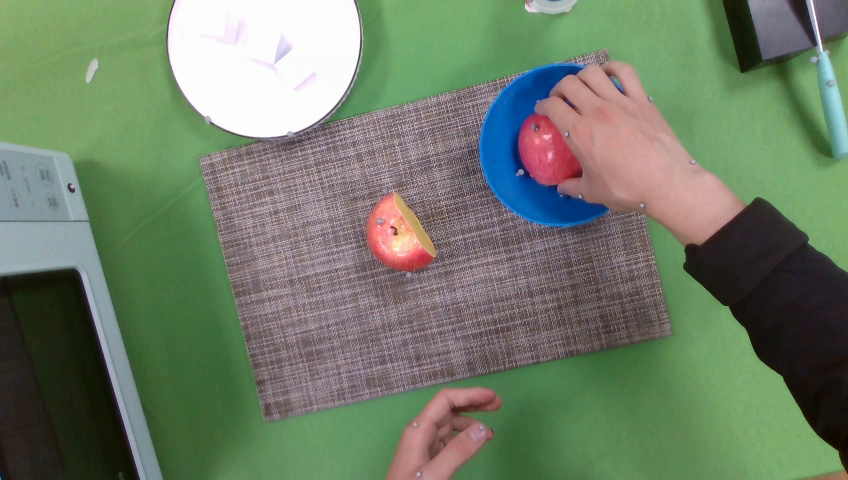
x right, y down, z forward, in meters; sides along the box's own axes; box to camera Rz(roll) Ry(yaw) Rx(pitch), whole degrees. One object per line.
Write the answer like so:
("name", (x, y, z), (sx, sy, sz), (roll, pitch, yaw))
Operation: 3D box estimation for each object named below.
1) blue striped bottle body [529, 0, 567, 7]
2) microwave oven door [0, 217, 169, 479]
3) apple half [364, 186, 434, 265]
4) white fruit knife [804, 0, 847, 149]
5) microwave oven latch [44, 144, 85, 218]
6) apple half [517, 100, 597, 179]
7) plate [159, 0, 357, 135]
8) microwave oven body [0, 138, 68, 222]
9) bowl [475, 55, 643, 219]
("blue striped bottle body", (0.122, -0.268, 0.564), (0.063, 0.121, 0.063), (0, 93, 6))
("microwave oven door", (-0.346, 0.155, 0.556), (0.039, 0.244, 0.356), (-16, 92, 6))
("apple half", (-0.031, -0.008, 0.615), (0.053, 0.074, 0.081), (-33, 93, 10))
("white fruit knife", (0.368, -0.178, 0.564), (0.016, 0.027, 0.208), (-18, 109, 23))
("microwave oven latch", (-0.393, -0.061, 0.649), (0.030, 0.029, 0.079), (-15, 93, 5))
("apple half", (0.127, -0.096, 0.574), (0.081, 0.033, 0.081), (1, 94, 13))
("plate", (-0.171, -0.213, 0.637), (0.207, 0.039, 0.207), (0, 94, 5))
("microwave oven body", (-0.498, 0.153, 0.575), (0.326, 0.260, 0.442), (-16, 92, 5))
("bowl", (0.126, -0.095, 0.592), (0.151, 0.077, 0.151), (0, 93, 6))
